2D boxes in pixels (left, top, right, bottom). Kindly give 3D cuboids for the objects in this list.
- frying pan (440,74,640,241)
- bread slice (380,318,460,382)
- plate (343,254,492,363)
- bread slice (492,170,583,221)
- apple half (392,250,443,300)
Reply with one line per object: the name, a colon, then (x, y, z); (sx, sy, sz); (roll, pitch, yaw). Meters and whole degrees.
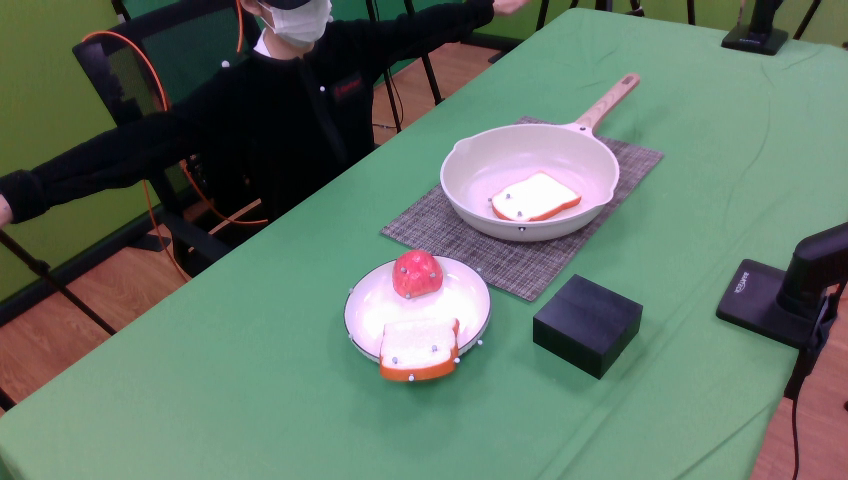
frying pan: (0.245, -0.161, 1.058); (0.304, 0.103, 0.489); (30, 61, 35)
bread slice: (-0.005, 0.137, 0.770); (0.105, 0.019, 0.131); (-6, 19, 4)
plate: (-0.008, 0.101, 0.847); (0.207, 0.039, 0.206); (-4, 40, 4)
bread slice: (0.183, -0.066, 1.015); (0.135, 0.018, 0.106); (-28, 43, -23)
apple half: (-0.013, 0.046, 0.883); (0.081, 0.033, 0.081); (0, 65, 1)
